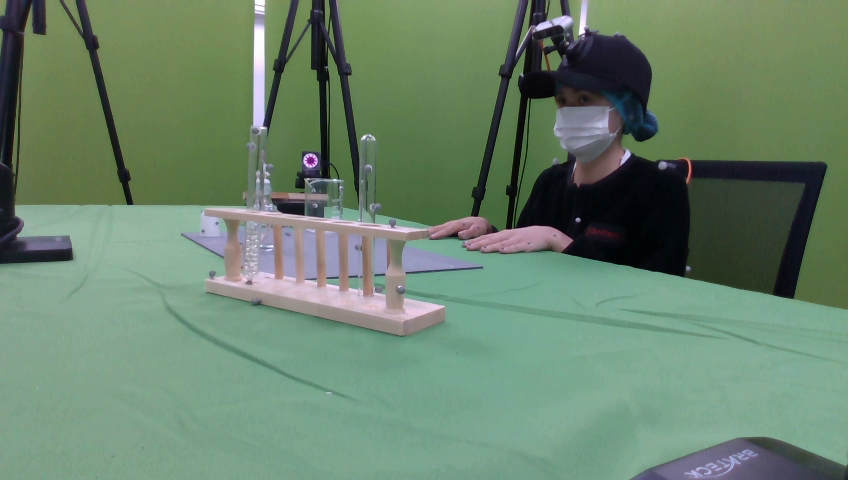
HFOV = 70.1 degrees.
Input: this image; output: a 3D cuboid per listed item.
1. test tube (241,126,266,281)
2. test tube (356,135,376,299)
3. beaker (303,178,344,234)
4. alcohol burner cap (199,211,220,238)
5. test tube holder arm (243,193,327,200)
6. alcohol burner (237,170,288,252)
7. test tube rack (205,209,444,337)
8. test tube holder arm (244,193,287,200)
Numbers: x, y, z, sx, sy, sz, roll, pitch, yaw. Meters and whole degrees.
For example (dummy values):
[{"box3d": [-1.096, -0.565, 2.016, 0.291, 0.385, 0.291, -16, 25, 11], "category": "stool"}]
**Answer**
[{"box3d": [-0.164, -0.034, 0.582, 0.017, 0.150, 0.017, 6, 9, -1], "category": "test tube"}, {"box3d": [-0.053, -0.019, 0.550, 0.017, 0.150, 0.017, 2, 9, 0], "category": "test tube"}, {"box3d": [-0.189, -0.063, 1.119, 0.073, 0.100, 0.084, 6, 9, 28], "category": "beaker"}, {"box3d": [-0.356, -0.027, 1.002, 0.034, 0.048, 0.034, 2, 7, 0], "category": "alcohol burner cap"}, {"box3d": [-0.287, -0.090, 1.262, 0.179, 0.015, 0.013, -2, 3, -33], "category": "test tube holder arm"}, {"box3d": [-0.236, -0.042, 0.882, 0.078, 0.119, 0.078, 2, 9, 0], "category": "alcohol burner"}, {"box3d": [-0.100, 0.021, 0.565, 0.241, 0.085, 0.067, 7, 9, 32], "category": "test tube rack"}, {"box3d": [-0.322, -0.089, 1.232, 0.088, 0.015, 0.010, -2, 3, -32], "category": "test tube holder arm"}]
